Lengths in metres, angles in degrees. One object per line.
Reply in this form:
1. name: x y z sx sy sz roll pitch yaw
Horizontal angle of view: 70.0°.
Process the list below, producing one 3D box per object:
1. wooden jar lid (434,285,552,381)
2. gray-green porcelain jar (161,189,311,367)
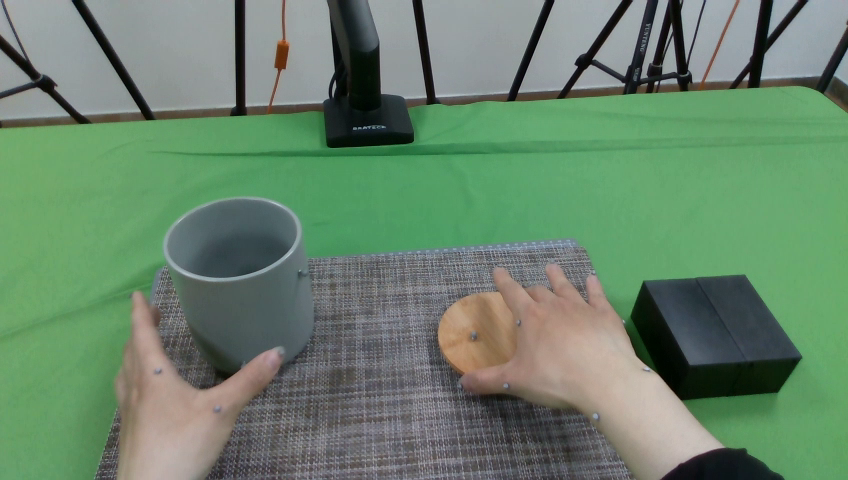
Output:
1. wooden jar lid: 0.062 0.086 0.556 0.108 0.021 0.107 3 42 -2
2. gray-green porcelain jar: -0.154 0.037 0.518 0.106 0.127 0.105 2 42 -1
